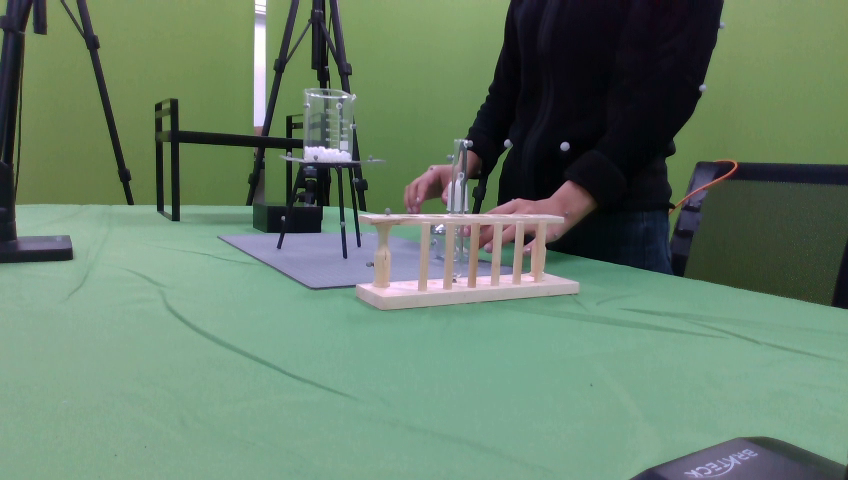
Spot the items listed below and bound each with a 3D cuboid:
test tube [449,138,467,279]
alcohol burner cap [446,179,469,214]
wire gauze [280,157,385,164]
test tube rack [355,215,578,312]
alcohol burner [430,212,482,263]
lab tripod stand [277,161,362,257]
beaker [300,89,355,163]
[{"bbox_3d":[0.035,-0.033,0.645,0.017,0.150,0.017,3,4,0],"label":"test tube"},{"bbox_3d":[0.048,-0.064,0.865,0.034,0.048,0.034,1,14,0],"label":"alcohol burner cap"},{"bbox_3d":[-0.134,-0.113,0.875,0.122,0.011,0.124,-1,6,-30],"label":"wire gauze"},{"bbox_3d":[0.053,0.018,0.641,0.243,0.085,0.066,-1,8,-29],"label":"test tube rack"},{"bbox_3d":[0.046,-0.028,0.869,0.078,0.119,0.078,2,6,0],"label":"alcohol burner"},{"bbox_3d":[-0.143,-0.049,0.884,0.148,0.131,0.148,1,9,0],"label":"lab tripod stand"},{"bbox_3d":[-0.136,-0.161,0.867,0.083,0.100,0.074,5,7,24],"label":"beaker"}]
